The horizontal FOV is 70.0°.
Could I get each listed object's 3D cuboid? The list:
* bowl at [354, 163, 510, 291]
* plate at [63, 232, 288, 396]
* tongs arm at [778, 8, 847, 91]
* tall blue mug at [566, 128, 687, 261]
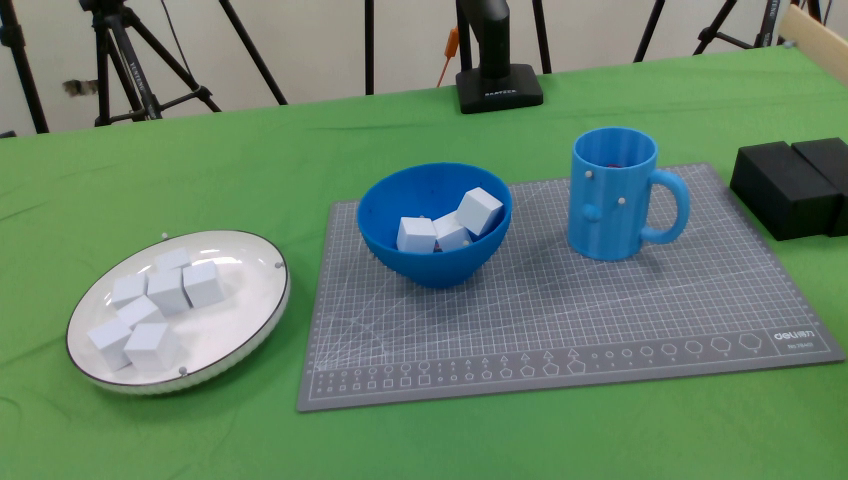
[{"bbox_3d":[0.011,-0.003,0.601,0.151,0.077,0.150,-5,39,4],"label":"bowl"},{"bbox_3d":[-0.233,0.070,0.589,0.209,0.038,0.207,-4,39,4],"label":"plate"},{"bbox_3d":[0.351,-0.038,0.355,0.051,0.027,0.380,-5,47,-15],"label":"tongs arm"},{"bbox_3d":[0.195,-0.043,0.593,0.107,0.109,0.077,2,39,12],"label":"tall blue mug"}]
